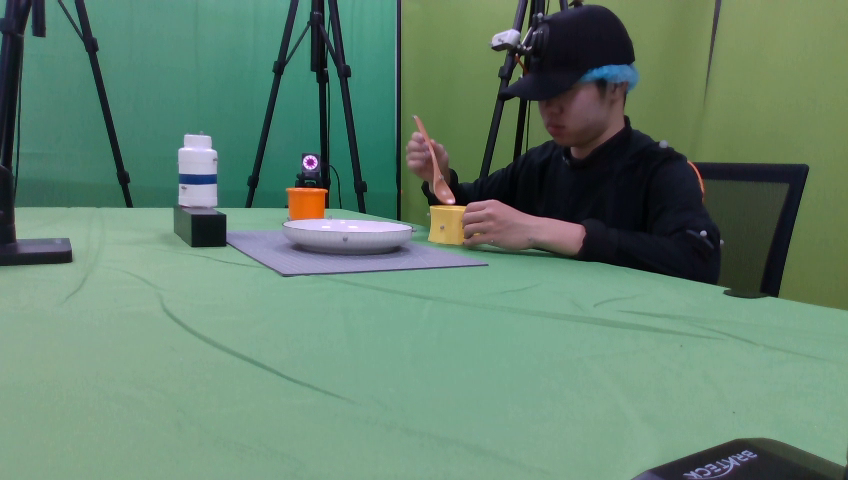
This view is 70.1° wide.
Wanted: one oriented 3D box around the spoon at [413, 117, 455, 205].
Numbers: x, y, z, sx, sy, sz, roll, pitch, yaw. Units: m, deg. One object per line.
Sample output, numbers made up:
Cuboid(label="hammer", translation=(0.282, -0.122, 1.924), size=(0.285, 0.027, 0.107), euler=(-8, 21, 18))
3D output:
Cuboid(label="spoon", translation=(0.016, -0.151, 1.138), size=(0.042, 0.193, 0.021), euler=(-6, -18, -37))

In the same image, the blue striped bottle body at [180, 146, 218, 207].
Cuboid(label="blue striped bottle body", translation=(-0.392, -0.118, 1.053), size=(0.063, 0.120, 0.063), euler=(2, 8, 0))

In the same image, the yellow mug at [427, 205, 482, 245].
Cuboid(label="yellow mug", translation=(0.062, -0.027, 1.111), size=(0.100, 0.064, 0.130), euler=(0, 9, -20))

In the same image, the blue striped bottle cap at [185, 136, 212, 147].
Cuboid(label="blue striped bottle cap", translation=(-0.390, -0.169, 1.047), size=(0.044, 0.020, 0.044), euler=(4, 10, 0))

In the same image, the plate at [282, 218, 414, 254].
Cuboid(label="plate", translation=(-0.121, -0.007, 0.971), size=(0.208, 0.039, 0.207), euler=(2, 7, 0))
